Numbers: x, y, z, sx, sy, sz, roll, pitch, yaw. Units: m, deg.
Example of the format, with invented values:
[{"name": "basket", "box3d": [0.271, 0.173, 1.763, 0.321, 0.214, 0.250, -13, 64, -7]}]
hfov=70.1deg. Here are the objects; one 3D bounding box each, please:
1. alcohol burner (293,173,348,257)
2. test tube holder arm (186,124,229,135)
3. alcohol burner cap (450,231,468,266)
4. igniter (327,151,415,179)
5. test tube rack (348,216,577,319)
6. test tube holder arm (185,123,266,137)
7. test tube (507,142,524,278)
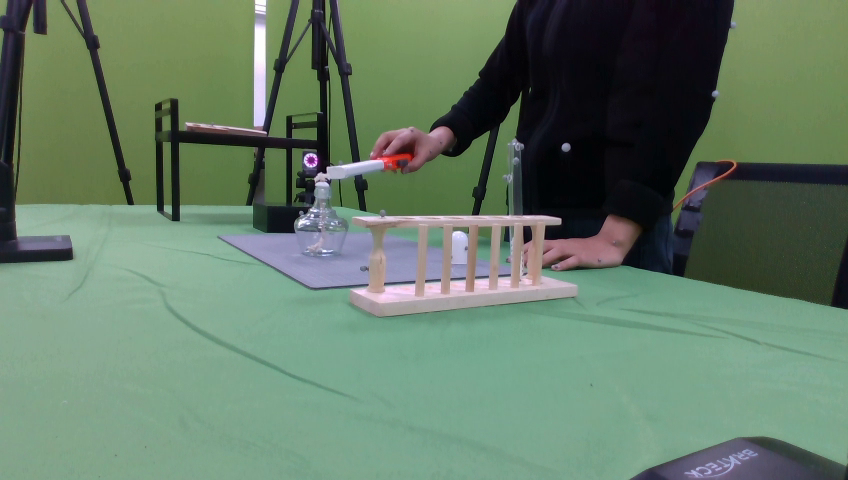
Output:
[{"name": "alcohol burner", "box3d": [-0.146, -0.036, 0.859, 0.078, 0.119, 0.078, 4, 8, 0]}, {"name": "test tube holder arm", "box3d": [-0.465, -0.236, 1.300, 0.088, 0.015, 0.010, -2, 47, -41]}, {"name": "alcohol burner cap", "box3d": [0.046, 0.012, 0.838, 0.034, 0.048, 0.034, 2, 6, 0]}, {"name": "igniter", "box3d": [-0.076, -0.125, 0.995, 0.057, 0.025, 0.277, 2, 13, 22]}, {"name": "test tube rack", "box3d": [0.048, 0.021, 0.619, 0.244, 0.085, 0.066, -2, 9, -31]}, {"name": "test tube holder arm", "box3d": [-0.434, -0.242, 1.333, 0.179, 0.015, 0.013, -4, 48, -42]}, {"name": "test tube", "box3d": [0.101, -0.032, 0.666, 0.017, 0.150, 0.017, -2, 6, 1]}]
